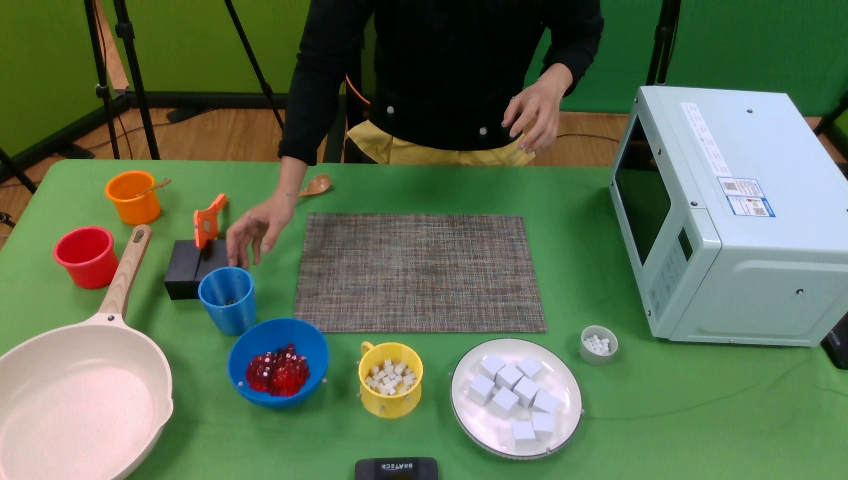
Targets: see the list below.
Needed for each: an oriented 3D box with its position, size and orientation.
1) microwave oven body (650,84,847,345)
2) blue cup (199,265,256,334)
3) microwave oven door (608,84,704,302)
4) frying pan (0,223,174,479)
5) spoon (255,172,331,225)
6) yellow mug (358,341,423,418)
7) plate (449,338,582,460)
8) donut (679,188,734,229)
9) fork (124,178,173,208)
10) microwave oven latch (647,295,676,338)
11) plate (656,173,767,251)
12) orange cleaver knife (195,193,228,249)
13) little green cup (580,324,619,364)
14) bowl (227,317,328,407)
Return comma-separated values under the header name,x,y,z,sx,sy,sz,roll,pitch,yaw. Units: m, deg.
name,x,y,z,sx,sy,sz,roll,pitch,yaw
microwave oven body,0.569,-0.054,1.116,0.326,0.261,0.439,2,46,-1
blue cup,-0.321,0.106,1.014,0.093,0.101,0.092,2,48,-2
microwave oven door,0.424,-0.096,1.138,0.039,0.245,0.353,2,46,-1
frying pan,-0.504,0.169,0.941,0.307,0.103,0.485,5,54,-1
spoon,-0.272,-0.087,1.256,0.041,0.022,0.193,43,57,16
yellow mug,-0.063,0.210,0.961,0.100,0.064,0.130,-29,54,-27
plate,0.141,0.251,0.955,0.208,0.039,0.206,2,46,-2
donut,0.546,-0.062,1.175,0.099,0.048,0.098,0,44,0
fork,-0.525,-0.090,1.154,0.207,0.019,0.028,-17,27,45
microwave oven latch,0.413,0.133,1.060,0.030,0.029,0.078,4,46,1
plate,0.556,-0.053,1.186,0.209,0.038,0.208,2,45,-2
orange cleaver knife,-0.406,-0.041,1.163,0.012,0.077,0.210,0,18,-3
little green cup,0.296,0.179,1.031,0.061,0.039,0.061,2,45,-2
bowl,-0.222,0.203,0.947,0.151,0.077,0.150,2,46,-2
